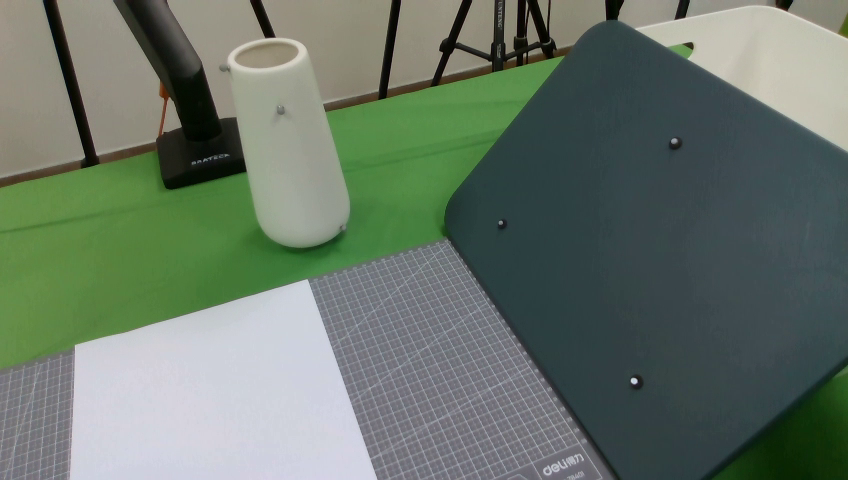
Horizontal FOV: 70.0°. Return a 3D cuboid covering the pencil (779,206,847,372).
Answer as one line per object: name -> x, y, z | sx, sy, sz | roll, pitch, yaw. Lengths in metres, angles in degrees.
pencil -> 0.366, 0.040, 0.569 | 0.012, 0.012, 0.192 | 2, 49, 6

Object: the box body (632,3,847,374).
box body -> 0.328, -0.069, 0.571 | 0.254, 0.162, 0.359 | -17, 43, -14

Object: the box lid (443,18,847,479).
box lid -> 0.165, -0.014, 0.496 | 0.015, 0.263, 0.367 | 24, 23, -41

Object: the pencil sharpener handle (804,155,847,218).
pencil sharpener handle -> 0.382, -0.054, 0.574 | 0.036, 0.068, 0.030 | -18, 32, -15

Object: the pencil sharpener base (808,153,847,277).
pencil sharpener base -> 0.401, -0.022, 0.539 | 0.061, 0.108, 0.076 | -16, 32, -17

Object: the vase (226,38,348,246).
vase -> -0.134, -0.090, 0.596 | 0.098, 0.202, 0.097 | -3, 41, 3

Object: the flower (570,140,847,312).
flower -> 0.298, -0.007, 0.611 | 0.358, 0.038, 0.044 | 39, 20, 30
